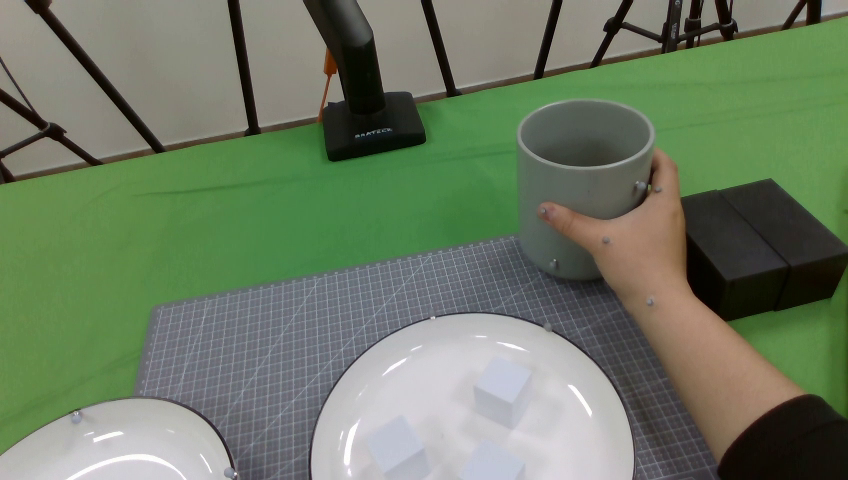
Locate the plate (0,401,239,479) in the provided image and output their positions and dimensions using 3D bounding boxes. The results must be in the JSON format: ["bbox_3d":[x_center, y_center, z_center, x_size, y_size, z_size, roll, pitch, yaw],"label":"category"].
[{"bbox_3d":[-0.212,0.198,0.376,0.209,0.038,0.207,-6,41,6],"label":"plate"}]

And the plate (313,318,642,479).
[{"bbox_3d":[0.033,0.140,0.400,0.207,0.039,0.205,-5,41,5],"label":"plate"}]

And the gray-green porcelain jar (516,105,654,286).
[{"bbox_3d":[0.132,-0.033,0.513,0.106,0.128,0.105,-5,40,5],"label":"gray-green porcelain jar"}]
